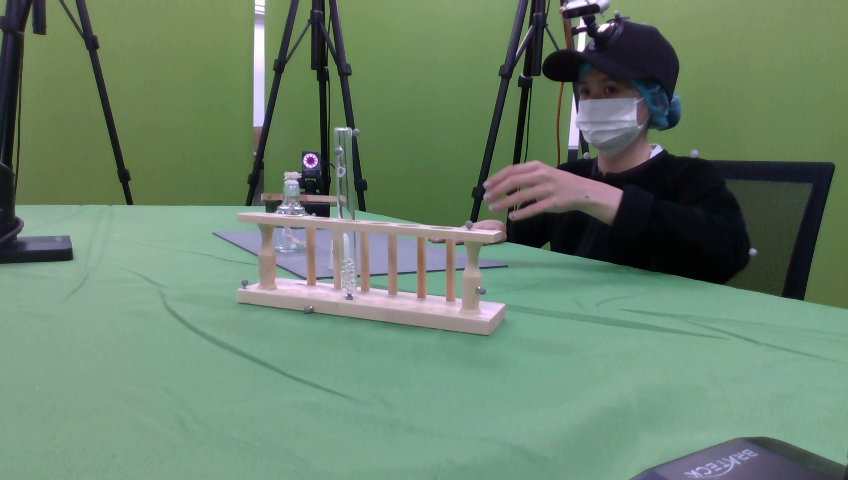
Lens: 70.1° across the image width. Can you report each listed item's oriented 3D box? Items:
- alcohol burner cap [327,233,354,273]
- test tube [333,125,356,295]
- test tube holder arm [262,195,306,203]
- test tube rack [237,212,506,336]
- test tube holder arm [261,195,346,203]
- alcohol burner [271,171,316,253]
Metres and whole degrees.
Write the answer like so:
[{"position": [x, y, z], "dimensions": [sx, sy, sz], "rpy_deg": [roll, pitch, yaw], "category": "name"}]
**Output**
[{"position": [-0.104, 0.016, 0.752], "dimensions": [0.034, 0.048, 0.034], "rpy_deg": [3, 6, 0], "category": "alcohol burner cap"}, {"position": [-0.070, -0.025, 0.533], "dimensions": [0.017, 0.150, 0.017], "rpy_deg": [-1, 11, 0], "category": "test tube"}, {"position": [-0.278, -0.082, 1.204], "dimensions": [0.088, 0.015, 0.010], "rpy_deg": [-1, 9, -30], "category": "test tube holder arm"}, {"position": [-0.049, 0.024, 0.552], "dimensions": [0.242, 0.085, 0.067], "rpy_deg": [5, 8, 18], "category": "test tube rack"}, {"position": [-0.242, -0.083, 1.232], "dimensions": [0.179, 0.015, 0.013], "rpy_deg": [-1, 9, -32], "category": "test tube holder arm"}, {"position": [-0.196, -0.041, 0.884], "dimensions": [0.078, 0.119, 0.078], "rpy_deg": [3, 5, 0], "category": "alcohol burner"}]
